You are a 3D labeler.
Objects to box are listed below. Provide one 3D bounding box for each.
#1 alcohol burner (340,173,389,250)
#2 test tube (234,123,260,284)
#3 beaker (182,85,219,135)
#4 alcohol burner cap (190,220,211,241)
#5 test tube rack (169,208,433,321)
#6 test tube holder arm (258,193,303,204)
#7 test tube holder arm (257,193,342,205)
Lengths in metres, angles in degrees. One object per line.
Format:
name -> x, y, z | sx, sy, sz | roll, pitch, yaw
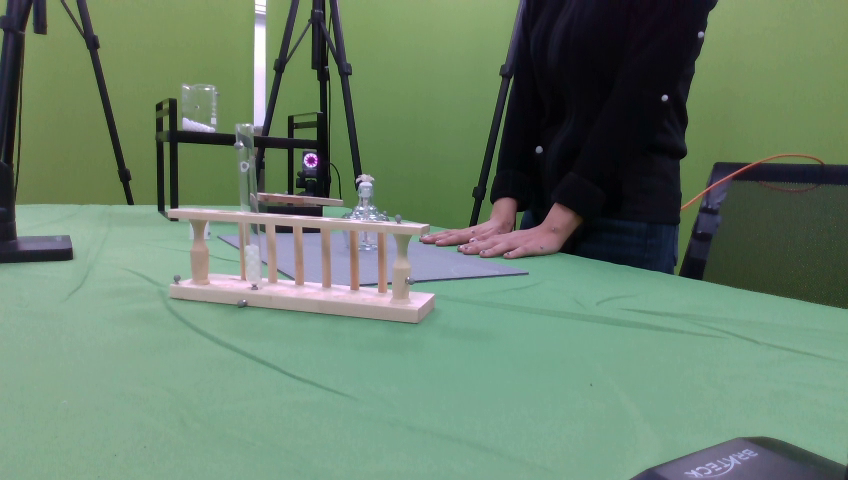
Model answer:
alcohol burner -> -0.093, -0.045, 0.939 | 0.078, 0.119, 0.078 | 0, 7, 0
test tube -> -0.164, -0.032, 0.562 | 0.017, 0.150, 0.017 | -1, 8, 0
beaker -> -0.479, -0.276, 1.291 | 0.074, 0.100, 0.084 | 2, 8, -1
alcohol burner cap -> -0.365, -0.023, 0.988 | 0.034, 0.048, 0.034 | 2, 8, 0
test tube rack -> -0.115, 0.018, 0.574 | 0.242, 0.085, 0.067 | 4, 8, 13
test tube holder arm -> -0.270, -0.078, 1.142 | 0.088, 0.015, 0.010 | 2, 23, -39
test tube holder arm -> -0.238, -0.079, 1.175 | 0.179, 0.015, 0.013 | 1, 24, -41
